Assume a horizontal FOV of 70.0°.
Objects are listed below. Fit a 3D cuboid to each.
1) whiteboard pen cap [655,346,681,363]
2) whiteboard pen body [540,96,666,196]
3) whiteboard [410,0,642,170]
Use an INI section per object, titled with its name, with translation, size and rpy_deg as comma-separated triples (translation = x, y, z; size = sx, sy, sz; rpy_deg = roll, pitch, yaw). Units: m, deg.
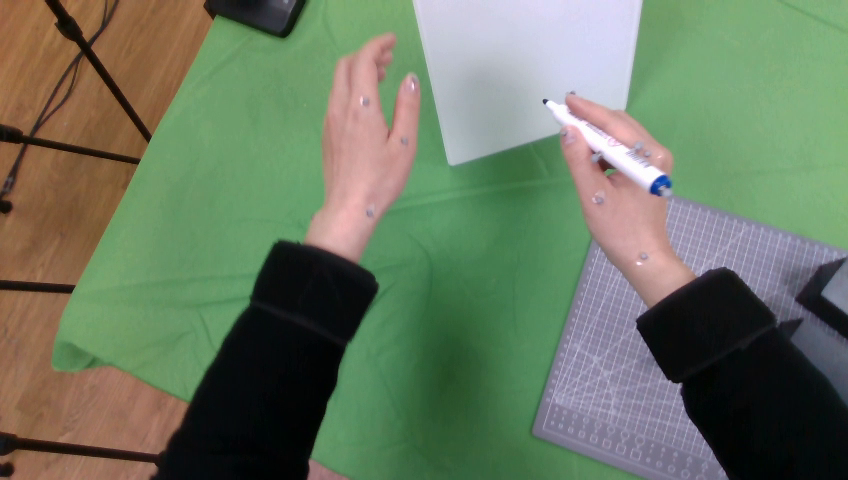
[whiteboard pen cap]
translation = 0.256, 0.120, 0.638
size = 0.018, 0.033, 0.018
rpy_deg = 0, 81, 2
[whiteboard pen body]
translation = 0.126, -0.075, 0.447
size = 0.017, 0.017, 0.139
rpy_deg = -33, 48, -3
[whiteboard]
translation = 0.090, -0.247, 0.615
size = 0.217, 0.308, 0.142
rpy_deg = -16, 58, 1
